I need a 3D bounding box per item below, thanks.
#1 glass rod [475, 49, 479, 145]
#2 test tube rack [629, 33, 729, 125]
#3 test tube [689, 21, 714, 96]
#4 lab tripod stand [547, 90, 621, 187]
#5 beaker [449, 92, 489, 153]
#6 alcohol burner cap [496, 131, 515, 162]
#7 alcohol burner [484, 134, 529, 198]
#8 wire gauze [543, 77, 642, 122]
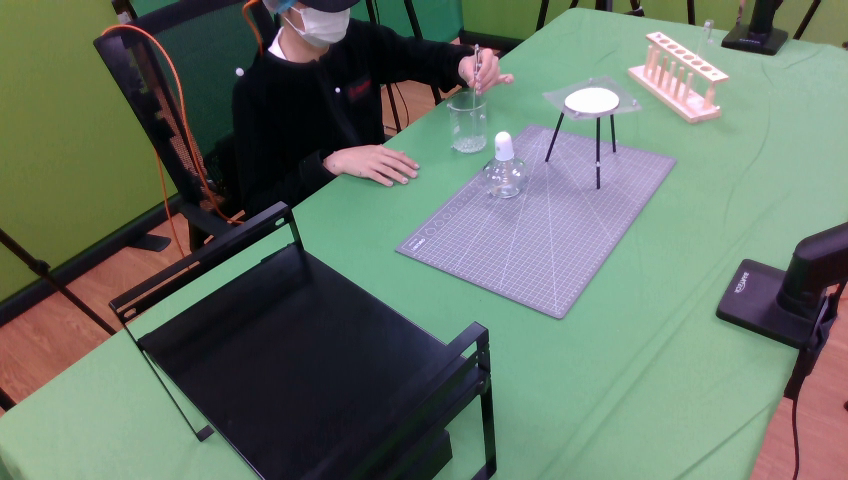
[{"bbox_3d":[0.100,-0.262,1.131,0.008,0.200,0.008,-2,42,2],"label":"glass rod"},{"bbox_3d":[0.516,-0.337,1.247,0.067,0.085,0.240,-14,41,-7],"label":"test tube rack"},{"bbox_3d":[0.542,-0.353,1.184,0.017,0.151,0.017,-2,40,2],"label":"test tube"},{"bbox_3d":[0.289,-0.184,1.062,0.148,0.132,0.147,-6,41,6],"label":"lab tripod stand"},{"bbox_3d":[0.091,-0.228,1.177,0.073,0.101,0.084,15,45,24],"label":"beaker"},{"bbox_3d":[0.135,-0.160,1.019,0.034,0.048,0.033,-8,38,7],"label":"alcohol burner cap"},{"bbox_3d":[0.141,-0.133,1.041,0.078,0.119,0.077,-5,43,5],"label":"alcohol burner"},{"bbox_3d":[0.282,-0.236,1.020,0.125,0.011,0.120,-15,40,-6],"label":"wire gauze"}]
